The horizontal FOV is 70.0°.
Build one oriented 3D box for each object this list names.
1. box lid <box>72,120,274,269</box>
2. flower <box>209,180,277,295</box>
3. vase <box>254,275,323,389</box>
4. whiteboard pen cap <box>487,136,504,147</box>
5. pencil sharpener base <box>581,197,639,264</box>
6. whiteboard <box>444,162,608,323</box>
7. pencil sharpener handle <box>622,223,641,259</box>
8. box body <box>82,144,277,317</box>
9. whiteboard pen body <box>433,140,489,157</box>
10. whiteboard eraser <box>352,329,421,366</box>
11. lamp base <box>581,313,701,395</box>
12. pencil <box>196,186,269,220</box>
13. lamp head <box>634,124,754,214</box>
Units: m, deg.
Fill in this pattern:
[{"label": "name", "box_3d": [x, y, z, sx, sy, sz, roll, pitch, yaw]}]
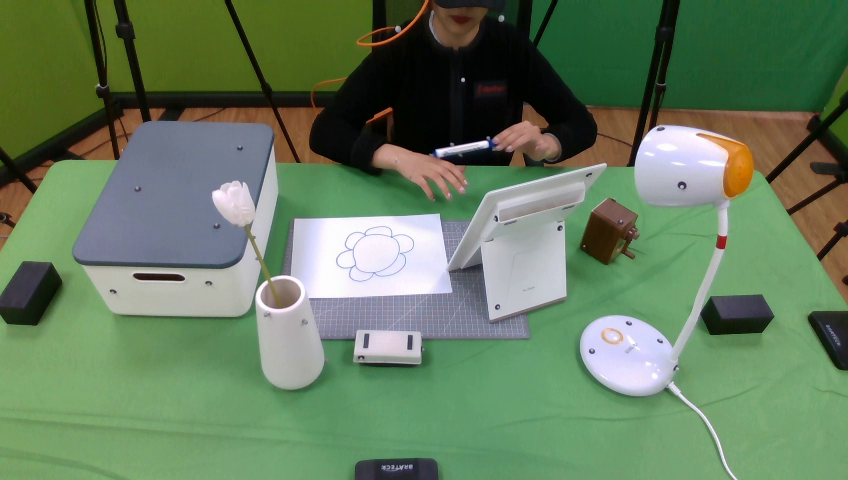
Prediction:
[{"label": "box lid", "box_3d": [-0.417, -0.094, 1.056, 0.263, 0.015, 0.369, 1, 47, -3]}, {"label": "flower", "box_3d": [-0.217, 0.075, 0.871, 0.044, 0.363, 0.038, -29, 36, -19]}, {"label": "vase", "box_3d": [-0.209, 0.143, 0.921, 0.098, 0.201, 0.097, 1, 46, -1]}, {"label": "whiteboard pen cap", "box_3d": [0.146, -0.203, 1.250, 0.033, 0.018, 0.018, -15, 48, -2]}, {"label": "pencil sharpener base", "box_3d": [0.362, -0.017, 1.179, 0.076, 0.107, 0.061, 37, 54, 27]}, {"label": "whiteboard", "box_3d": [0.186, 0.025, 1.029, 0.217, 0.306, 0.143, -14, 68, -17]}, {"label": "pencil sharpener handle", "box_3d": [0.397, 0.002, 1.146, 0.030, 0.068, 0.036, 37, 46, 27]}, {"label": "box body", "box_3d": [-0.421, -0.041, 1.108, 0.254, 0.161, 0.361, 2, 46, -3]}, {"label": "whiteboard pen body", "box_3d": [0.088, -0.190, 1.242, 0.141, 0.017, 0.017, -11, 48, -8]}, {"label": "whiteboard eraser", "box_3d": [-0.061, 0.179, 1.005, 0.113, 0.042, 0.055, 3, 48, -3]}, {"label": "lamp base", "box_3d": [0.361, 0.144, 0.973, 0.178, 0.181, 0.160, 34, 53, 23]}, {"label": "pencil", "box_3d": [-0.396, -0.078, 1.243, 0.193, 0.012, 0.012, 23, 49, 19]}, {"label": "lamp head", "box_3d": [0.351, -0.089, 0.776, 0.112, 0.113, 0.122, -30, 30, -28]}]
